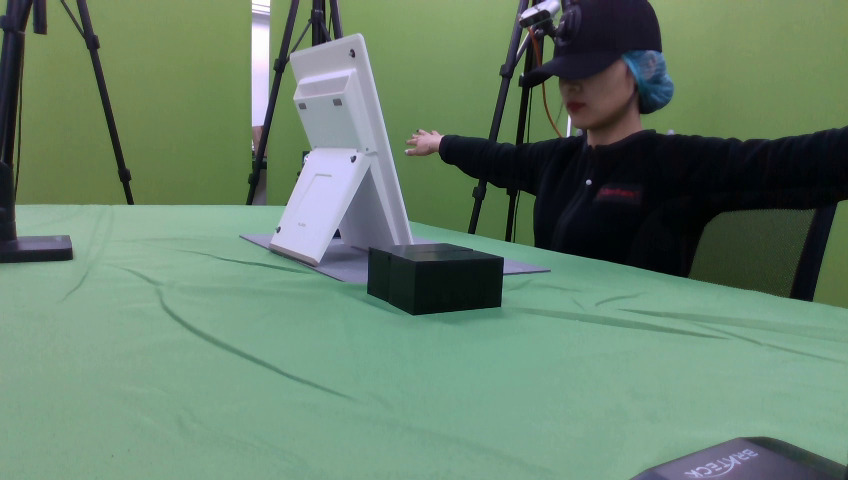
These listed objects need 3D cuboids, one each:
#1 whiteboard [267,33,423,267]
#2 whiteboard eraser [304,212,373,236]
[{"bbox_3d":[-0.153,-0.098,0.819,0.144,0.305,0.216,-25,21,-29],"label":"whiteboard"},{"bbox_3d":[-0.152,-0.029,1.077,0.113,0.042,0.055,-2,8,-31],"label":"whiteboard eraser"}]
